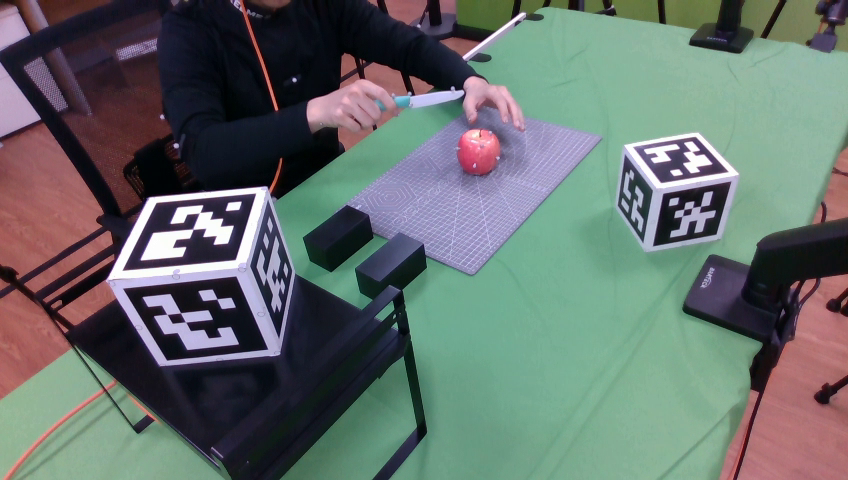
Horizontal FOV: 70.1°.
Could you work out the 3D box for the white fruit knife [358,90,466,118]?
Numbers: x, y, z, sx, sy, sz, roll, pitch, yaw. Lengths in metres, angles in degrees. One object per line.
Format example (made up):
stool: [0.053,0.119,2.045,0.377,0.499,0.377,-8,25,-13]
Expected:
white fruit knife: [-0.025,-0.223,0.980,0.206,0.027,0.016,-3,50,29]

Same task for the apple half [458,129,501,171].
apple half: [0.108,-0.166,1.106,0.080,0.075,0.053,18,42,33]

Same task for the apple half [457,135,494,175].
apple half: [0.086,-0.145,1.083,0.080,0.081,0.033,22,44,29]
